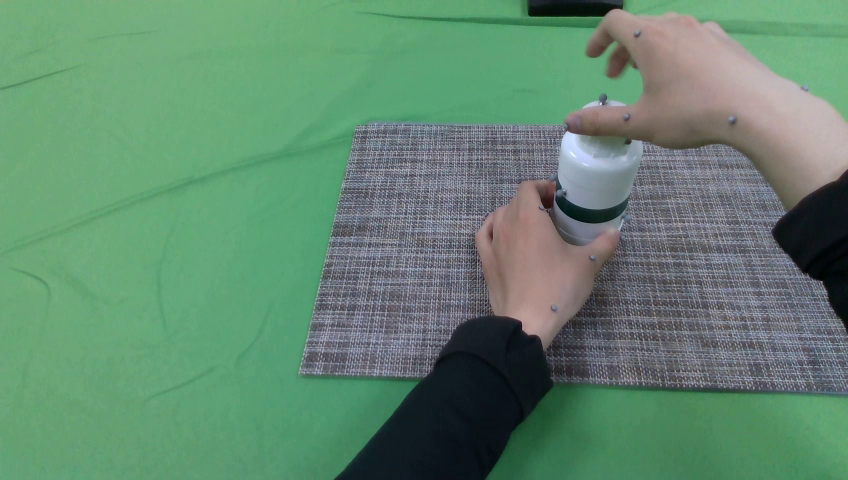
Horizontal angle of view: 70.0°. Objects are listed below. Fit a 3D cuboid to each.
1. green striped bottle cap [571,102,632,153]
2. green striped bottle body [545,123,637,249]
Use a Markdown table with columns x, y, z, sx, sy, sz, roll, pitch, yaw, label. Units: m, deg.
| x | y | z | sx | sy | sz | roll | pitch | yaw | label |
| --- | --- | --- | --- | --- | --- | --- | --- | --- | --- |
| 0.135 | -0.086 | 0.462 | 0.044 | 0.020 | 0.044 | -3 | 47 | 3 | green striped bottle cap |
| 0.138 | -0.053 | 0.503 | 0.063 | 0.120 | 0.062 | -2 | 50 | 2 | green striped bottle body |
